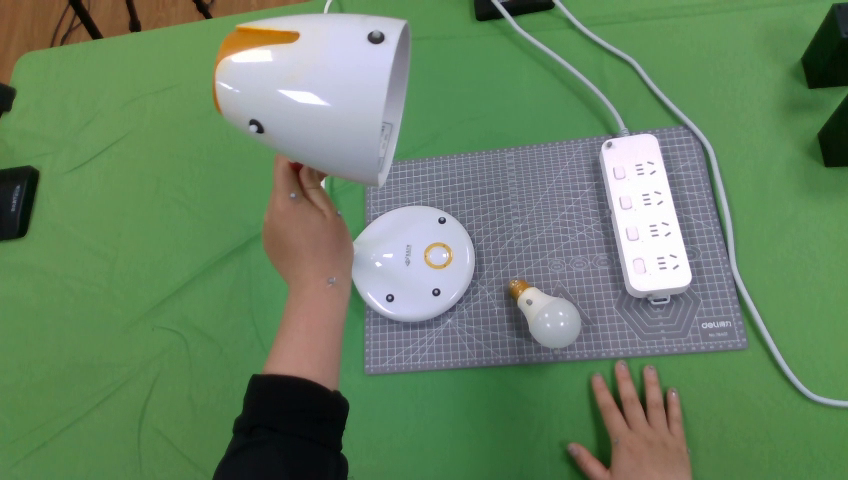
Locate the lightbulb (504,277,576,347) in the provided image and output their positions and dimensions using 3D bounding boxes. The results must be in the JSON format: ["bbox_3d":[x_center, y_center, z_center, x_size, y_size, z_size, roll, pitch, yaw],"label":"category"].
[{"bbox_3d":[0.133,0.081,0.718,0.059,0.060,0.106,-41,53,-7],"label":"lightbulb"}]

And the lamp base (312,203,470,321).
[{"bbox_3d":[-0.046,0.001,0.711,0.179,0.182,0.159,-12,67,8],"label":"lamp base"}]

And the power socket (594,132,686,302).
[{"bbox_3d":[0.264,-0.036,0.750,0.072,0.033,0.225,-7,67,6],"label":"power socket"}]

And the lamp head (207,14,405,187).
[{"bbox_3d":[-0.079,-0.098,0.410,0.123,0.113,0.112,9,70,5],"label":"lamp head"}]
